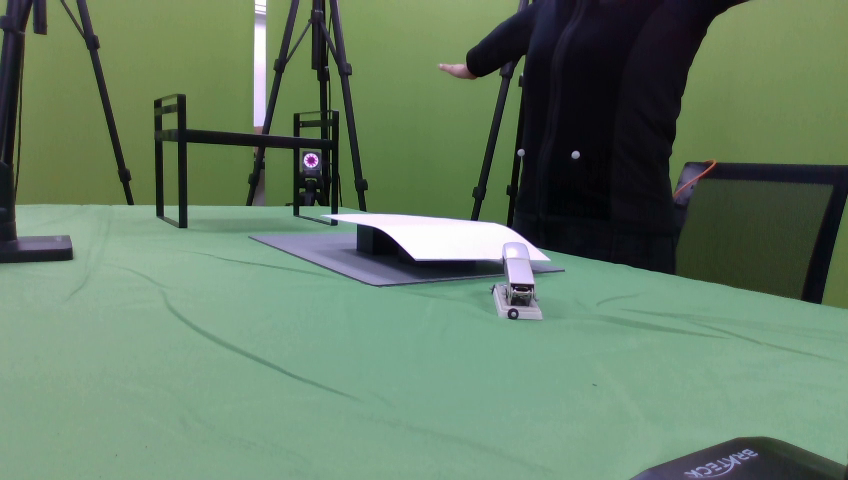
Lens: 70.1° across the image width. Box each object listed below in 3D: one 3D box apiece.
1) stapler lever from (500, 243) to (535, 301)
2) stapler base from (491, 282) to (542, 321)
[{"bbox_3d":[0.093,0.030,0.608,0.027,0.040,0.118,1,9,3],"label":"stapler lever"},{"bbox_3d":[0.092,0.055,0.613,0.041,0.024,0.130,1,9,3],"label":"stapler base"}]
